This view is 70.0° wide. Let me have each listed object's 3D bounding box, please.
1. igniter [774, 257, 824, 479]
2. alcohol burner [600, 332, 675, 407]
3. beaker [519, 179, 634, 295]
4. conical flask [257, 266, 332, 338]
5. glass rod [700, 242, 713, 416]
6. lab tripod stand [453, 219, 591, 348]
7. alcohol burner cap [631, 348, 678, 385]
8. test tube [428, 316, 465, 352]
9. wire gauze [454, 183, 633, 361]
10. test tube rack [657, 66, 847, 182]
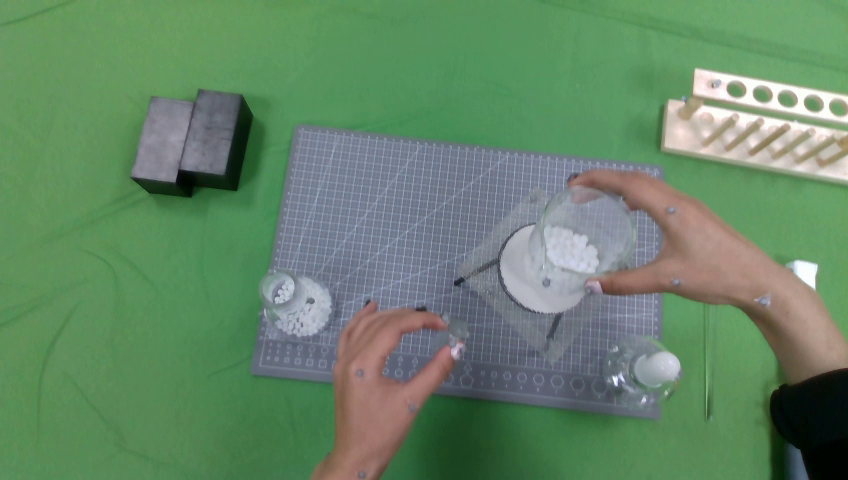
[{"bbox_3d":[0.414,0.155,0.670,0.057,0.025,0.275,11,76,-10],"label":"igniter"},{"bbox_3d":[0.224,0.131,0.621,0.078,0.119,0.077,0,75,1],"label":"alcohol burner"},{"bbox_3d":[0.120,0.005,0.507,0.084,0.101,0.073,-41,79,-12],"label":"beaker"},{"bbox_3d":[-0.138,0.058,0.621,0.075,0.122,0.075,1,75,-2],"label":"conical flask"},{"bbox_3d":[0.322,0.099,0.690,0.008,0.008,0.199,8,78,0],"label":"glass rod"},{"bbox_3d":[0.107,0.040,0.629,0.148,0.132,0.147,0,77,0],"label":"lab tripod stand"},{"bbox_3d":[0.226,0.120,0.587,0.034,0.048,0.033,2,69,-6],"label":"alcohol burner cap"},{"bbox_3d":[0.017,0.082,0.515,0.017,0.151,0.017,1,75,-5],"label":"test tube"},{"bbox_3d":[0.111,0.026,0.564,0.124,0.011,0.121,43,80,8],"label":"wire gauze"},{"bbox_3d":[0.413,-0.134,0.712,0.242,0.085,0.066,10,75,1],"label":"test tube rack"}]
